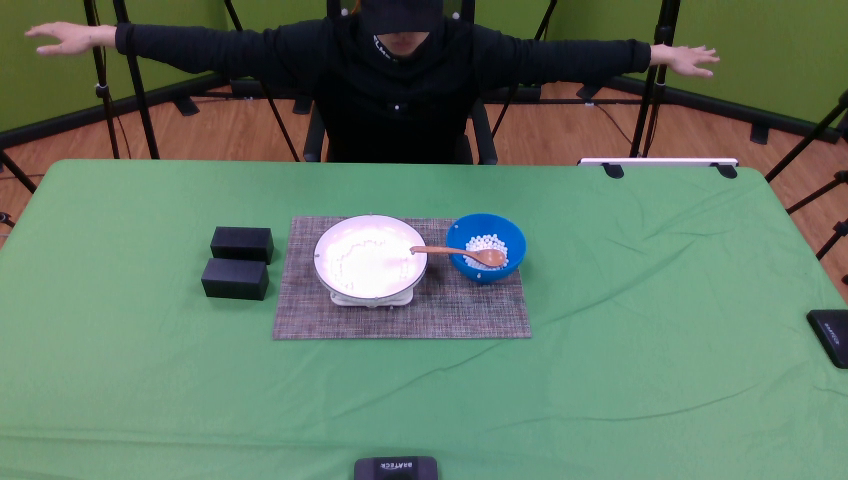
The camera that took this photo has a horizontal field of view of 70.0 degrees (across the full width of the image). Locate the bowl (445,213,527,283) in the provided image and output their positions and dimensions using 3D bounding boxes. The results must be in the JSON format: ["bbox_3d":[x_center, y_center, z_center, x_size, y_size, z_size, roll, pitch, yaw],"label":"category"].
[{"bbox_3d":[0.112,0.027,1.137,0.151,0.077,0.150,2,46,-2],"label":"bowl"}]

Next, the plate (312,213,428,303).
[{"bbox_3d":[-0.097,0.036,1.100,0.209,0.038,0.208,2,46,-2],"label":"plate"}]

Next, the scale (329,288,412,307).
[{"bbox_3d":[-0.098,0.042,1.139,0.149,0.032,0.199,1,46,-4],"label":"scale"}]

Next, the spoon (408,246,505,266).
[{"bbox_3d":[0.061,0.023,1.091,0.194,0.022,0.041,9,49,-27],"label":"spoon"}]
